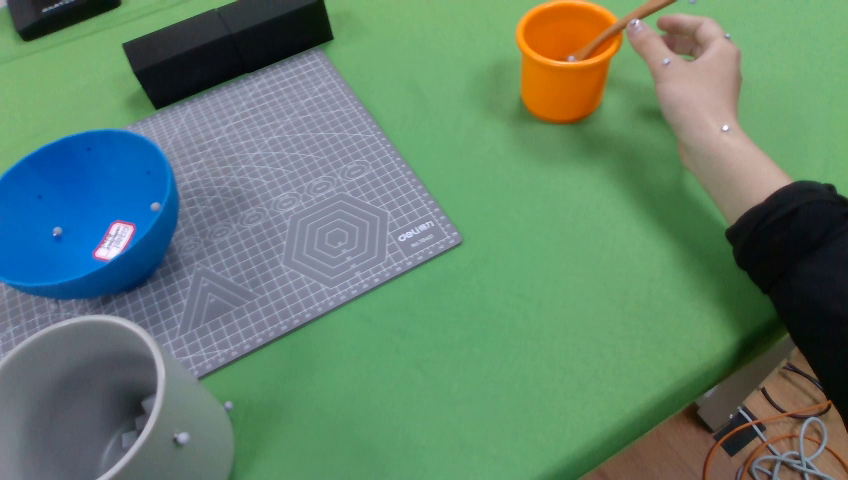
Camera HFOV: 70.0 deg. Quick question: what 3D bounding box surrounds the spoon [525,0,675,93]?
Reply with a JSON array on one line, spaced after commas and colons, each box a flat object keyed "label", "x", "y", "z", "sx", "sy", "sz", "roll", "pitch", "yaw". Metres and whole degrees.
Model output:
[{"label": "spoon", "x": 0.165, "y": -0.178, "z": 0.518, "sx": 0.022, "sy": 0.193, "sz": 0.041, "roll": 33, "pitch": 52, "yaw": -26}]

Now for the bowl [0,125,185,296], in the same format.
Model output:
[{"label": "bowl", "x": -0.256, "y": -0.011, "z": 0.485, "sx": 0.151, "sy": 0.077, "sz": 0.150, "roll": -3, "pitch": 56, "yaw": 4}]

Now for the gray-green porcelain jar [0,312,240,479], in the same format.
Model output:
[{"label": "gray-green porcelain jar", "x": -0.178, "y": 0.118, "z": 0.366, "sx": 0.106, "sy": 0.127, "sz": 0.105, "roll": -3, "pitch": 56, "yaw": 4}]
